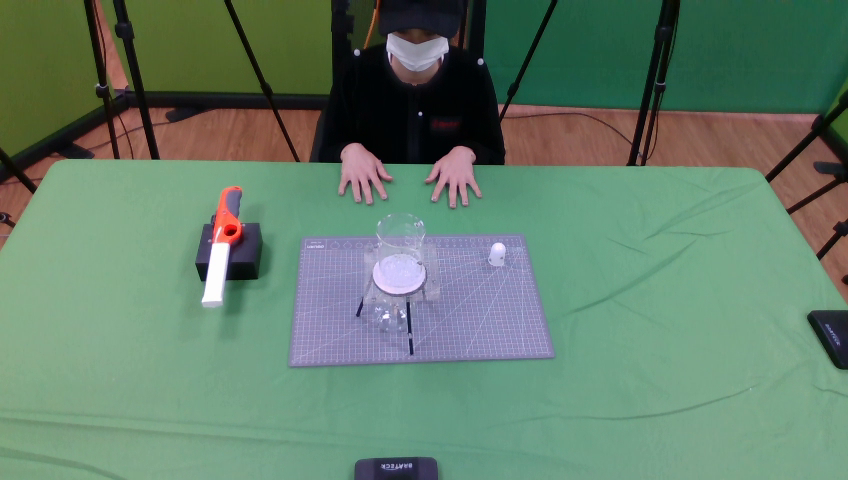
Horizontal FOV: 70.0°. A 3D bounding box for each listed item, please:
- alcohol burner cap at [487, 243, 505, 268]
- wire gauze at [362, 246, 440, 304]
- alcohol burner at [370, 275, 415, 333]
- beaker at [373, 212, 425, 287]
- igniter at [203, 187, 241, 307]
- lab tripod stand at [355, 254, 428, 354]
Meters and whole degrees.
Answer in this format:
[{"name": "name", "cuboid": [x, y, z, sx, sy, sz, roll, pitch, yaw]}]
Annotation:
[{"name": "alcohol burner cap", "cuboid": [0.141, 0.027, 1.166, 0.034, 0.048, 0.033, 2, 45, -2]}, {"name": "wire gauze", "cuboid": [-0.038, 0.052, 0.972, 0.121, 0.011, 0.124, 0, 44, -5]}, {"name": "alcohol burner", "cuboid": [-0.054, 0.103, 1.026, 0.078, 0.120, 0.077, 1, 44, -1]}, {"name": "beaker", "cuboid": [-0.036, 0.019, 0.936, 0.074, 0.101, 0.083, -29, 54, -26]}, {"name": "igniter", "cuboid": [-0.365, 0.003, 1.098, 0.057, 0.025, 0.274, -1, 49, -7]}, {"name": "lab tripod stand", "cuboid": [-0.046, 0.100, 1.017, 0.148, 0.132, 0.147, 1, 47, -1]}]
